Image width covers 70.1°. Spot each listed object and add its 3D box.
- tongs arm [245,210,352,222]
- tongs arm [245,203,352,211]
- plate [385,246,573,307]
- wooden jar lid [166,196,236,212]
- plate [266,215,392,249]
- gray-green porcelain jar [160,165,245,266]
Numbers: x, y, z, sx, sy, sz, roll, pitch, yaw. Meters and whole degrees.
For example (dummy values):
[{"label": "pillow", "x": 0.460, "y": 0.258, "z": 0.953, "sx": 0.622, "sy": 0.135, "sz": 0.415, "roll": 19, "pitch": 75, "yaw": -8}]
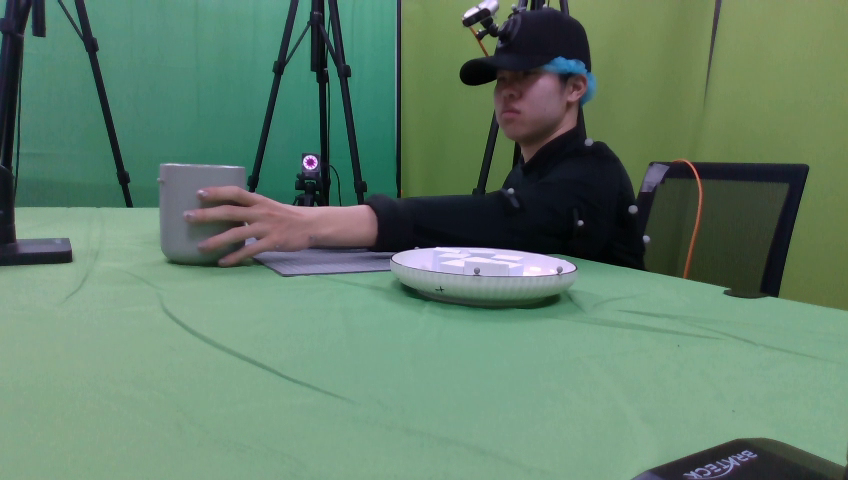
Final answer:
[{"label": "tongs arm", "x": -0.337, "y": -0.053, "z": 1.329, "sx": 0.389, "sy": 0.028, "sz": 0.028, "roll": -1, "pitch": 6, "yaw": -27}, {"label": "tongs arm", "x": -0.362, "y": -0.068, "z": 1.406, "sx": 0.386, "sy": 0.026, "sz": 0.050, "roll": 2, "pitch": 9, "yaw": -14}, {"label": "plate", "x": 0.060, "y": 0.041, "z": 0.678, "sx": 0.208, "sy": 0.039, "sz": 0.207, "roll": 3, "pitch": 7, "yaw": 0}, {"label": "wooden jar lid", "x": -0.369, "y": -0.059, "z": 1.001, "sx": 0.108, "sy": 0.020, "sz": 0.108, "roll": 3, "pitch": 6, "yaw": 0}, {"label": "plate", "x": -0.159, "y": -0.015, "z": 1.019, "sx": 0.209, "sy": 0.038, "sz": 0.209, "roll": 3, "pitch": 7, "yaw": 0}, {"label": "gray-green porcelain jar", "x": -0.291, "y": -0.034, "z": 0.798, "sx": 0.106, "sy": 0.126, "sz": 0.106, "roll": 2, "pitch": 8, "yaw": 0}]
